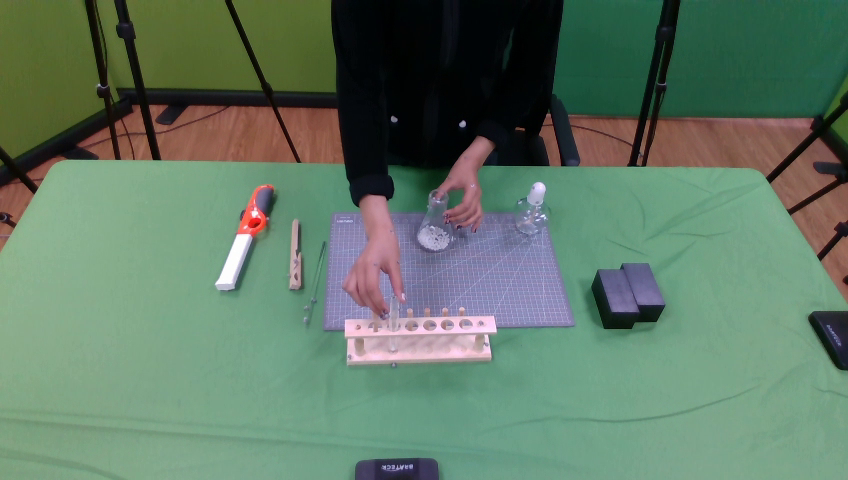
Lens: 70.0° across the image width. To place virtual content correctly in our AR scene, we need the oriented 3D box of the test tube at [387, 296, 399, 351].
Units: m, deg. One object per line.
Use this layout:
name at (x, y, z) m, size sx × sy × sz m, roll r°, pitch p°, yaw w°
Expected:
test tube at (-0.049, 0.135, 0.953) m, size 0.017 × 0.151 × 0.017 m, roll 2°, pitch 51°, yaw -3°

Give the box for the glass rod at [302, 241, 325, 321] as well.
glass rod at (-0.204, 0.071, 1.124) m, size 0.008 × 0.008 × 0.198 m, roll 4°, pitch 44°, yaw 1°

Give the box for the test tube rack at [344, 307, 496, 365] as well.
test tube rack at (-0.009, 0.154, 1.007) m, size 0.242 × 0.085 × 0.066 m, roll -1°, pitch 46°, yaw -5°

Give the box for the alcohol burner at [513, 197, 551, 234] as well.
alcohol burner at (0.220, -0.069, 1.216) m, size 0.078 × 0.119 × 0.077 m, roll 3°, pitch 47°, yaw -3°

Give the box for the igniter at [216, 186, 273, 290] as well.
igniter at (-0.347, -0.014, 1.182) m, size 0.057 × 0.025 × 0.275 m, roll -2°, pitch 45°, yaw 8°

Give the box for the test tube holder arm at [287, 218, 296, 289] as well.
test tube holder arm at (-0.253, 0.022, 1.158) m, size 0.013 × 0.015 × 0.177 m, roll 23°, pitch 36°, yaw -34°

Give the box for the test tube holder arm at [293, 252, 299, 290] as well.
test tube holder arm at (-0.241, 0.056, 1.131) m, size 0.010 × 0.015 × 0.087 m, roll 25°, pitch 35°, yaw -33°

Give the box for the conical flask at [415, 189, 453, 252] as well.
conical flask at (0.023, -0.041, 1.168) m, size 0.075 × 0.122 × 0.075 m, roll 2°, pitch 46°, yaw -2°

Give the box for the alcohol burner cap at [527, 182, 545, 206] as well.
alcohol burner cap at (0.222, -0.092, 1.189) m, size 0.034 × 0.048 × 0.033 m, roll 2°, pitch 55°, yaw -3°
